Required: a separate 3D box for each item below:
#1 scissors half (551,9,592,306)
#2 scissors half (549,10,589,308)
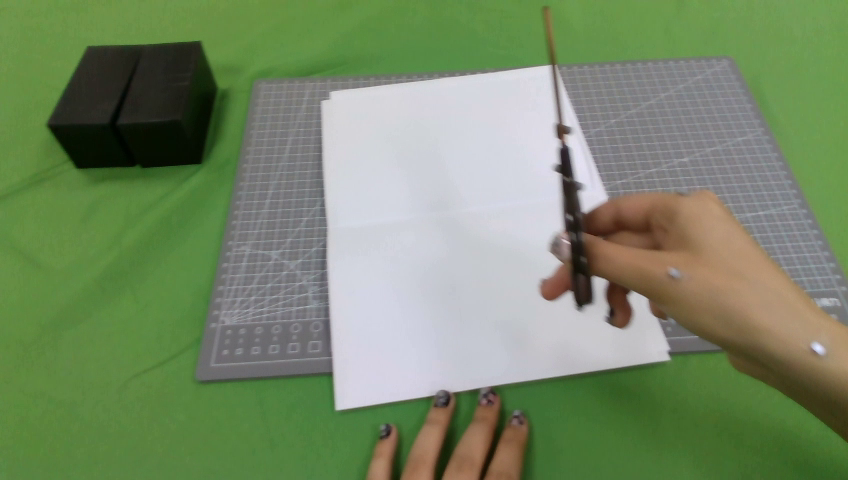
[{"bbox_3d":[0.085,-0.049,0.355,0.012,0.040,0.175,-6,92,20],"label":"scissors half"},{"bbox_3d":[0.078,-0.050,0.336,0.013,0.040,0.174,-6,75,14],"label":"scissors half"}]
